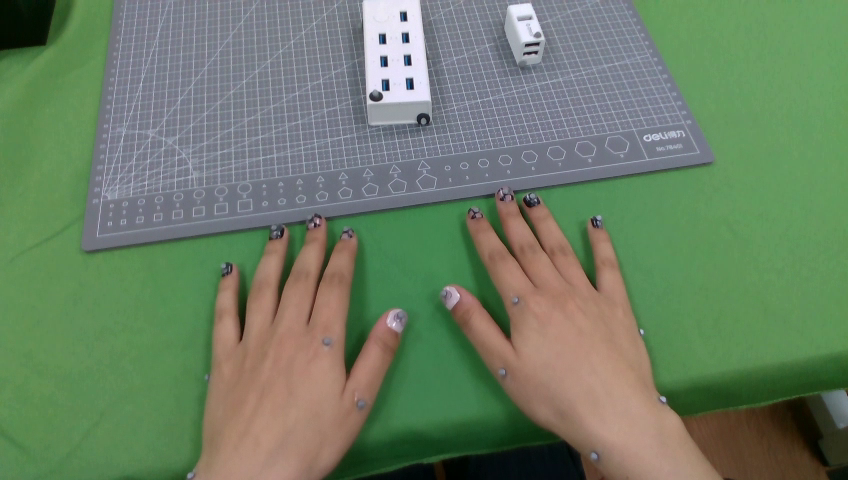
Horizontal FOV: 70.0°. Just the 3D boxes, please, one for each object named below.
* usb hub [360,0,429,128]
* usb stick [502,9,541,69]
[{"bbox_3d":[-0.025,-0.144,0.486,0.049,0.025,0.124,-4,58,-3],"label":"usb hub"},{"bbox_3d":[0.079,-0.171,0.503,0.021,0.027,0.058,-9,56,-5],"label":"usb stick"}]
